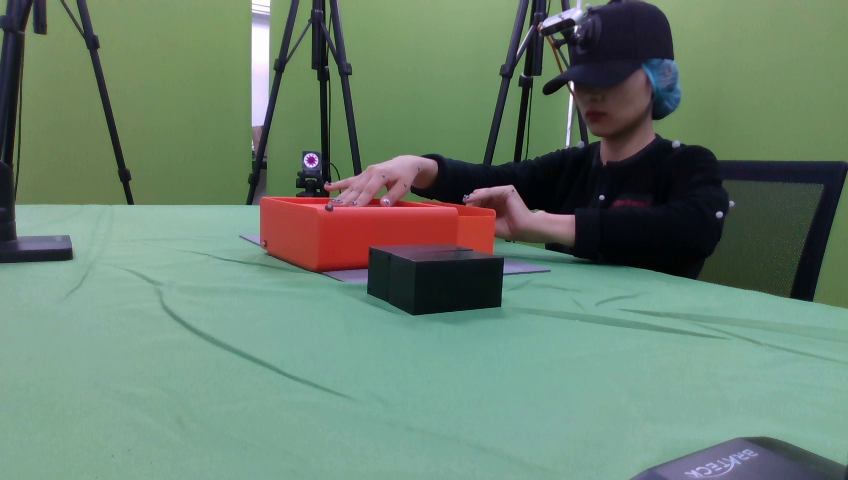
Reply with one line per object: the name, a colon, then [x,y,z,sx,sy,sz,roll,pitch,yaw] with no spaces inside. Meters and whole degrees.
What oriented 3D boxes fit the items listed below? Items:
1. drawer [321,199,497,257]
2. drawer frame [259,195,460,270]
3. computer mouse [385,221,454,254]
drawer: [-0.034,-0.020,0.885,0.213,0.073,0.193,-2,9,-34]
drawer frame: [-0.093,-0.018,0.846,0.215,0.082,0.200,-4,10,-35]
computer mouse: [-0.008,-0.005,0.894,0.063,0.041,0.116,0,12,-32]
